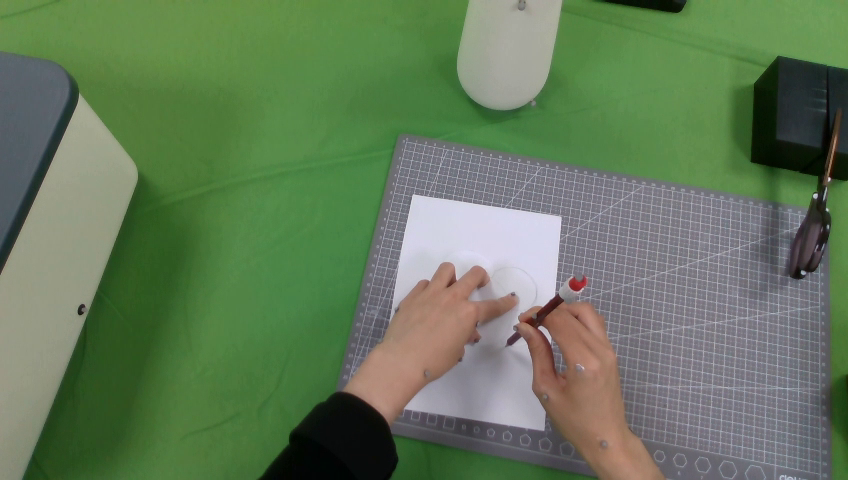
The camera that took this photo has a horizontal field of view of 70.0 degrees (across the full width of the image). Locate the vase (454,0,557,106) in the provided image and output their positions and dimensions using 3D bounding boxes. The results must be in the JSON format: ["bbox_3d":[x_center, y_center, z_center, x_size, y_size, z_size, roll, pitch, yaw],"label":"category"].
[{"bbox_3d":[0.079,-0.215,0.574,0.098,0.201,0.097,0,70,0],"label":"vase"}]

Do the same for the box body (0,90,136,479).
[{"bbox_3d":[-0.433,0.031,0.500,0.254,0.161,0.362,11,71,3],"label":"box body"}]

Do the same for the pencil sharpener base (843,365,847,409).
[{"bbox_3d":[0.418,0.140,0.510,0.061,0.107,0.076,6,71,1],"label":"pencil sharpener base"}]

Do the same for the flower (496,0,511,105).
[{"bbox_3d":[0.076,-0.255,0.500,0.044,0.365,0.038,4,53,4],"label":"flower"}]

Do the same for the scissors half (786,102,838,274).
[{"bbox_3d":[0.380,-0.051,0.590,0.012,0.040,0.175,16,90,19],"label":"scissors half"}]

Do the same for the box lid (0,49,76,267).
[{"bbox_3d":[-0.432,0.004,0.430,0.263,0.015,0.369,11,71,2],"label":"box lid"}]

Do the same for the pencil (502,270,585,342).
[{"bbox_3d":[0.087,0.059,0.480,0.012,0.195,0.012,3,68,-7],"label":"pencil"}]

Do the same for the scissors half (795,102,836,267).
[{"bbox_3d":[0.375,-0.056,0.571,0.013,0.040,0.174,16,72,14],"label":"scissors half"}]
